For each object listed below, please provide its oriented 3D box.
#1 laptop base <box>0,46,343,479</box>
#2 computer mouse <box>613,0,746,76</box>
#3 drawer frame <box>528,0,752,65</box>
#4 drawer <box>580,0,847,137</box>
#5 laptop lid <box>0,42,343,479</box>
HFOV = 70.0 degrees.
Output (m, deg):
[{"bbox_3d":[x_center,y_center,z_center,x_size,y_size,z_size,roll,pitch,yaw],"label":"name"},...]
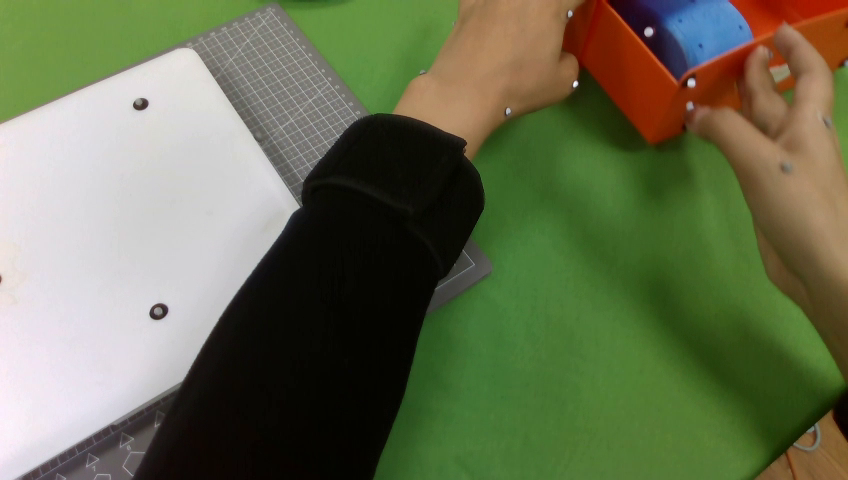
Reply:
[{"bbox_3d":[-0.256,0.026,0.374,0.354,0.023,0.234,-30,70,-15],"label":"laptop base"},{"bbox_3d":[0.193,-0.171,0.464,0.063,0.041,0.116,-20,65,-15],"label":"computer mouse"},{"bbox_3d":[0.160,-0.268,0.497,0.202,0.083,0.211,-25,65,-12],"label":"drawer frame"},{"bbox_3d":[0.200,-0.200,0.464,0.195,0.074,0.209,-23,63,-13],"label":"drawer"},{"bbox_3d":[-0.255,0.022,0.363,0.357,0.013,0.239,-29,68,-14],"label":"laptop lid"}]
